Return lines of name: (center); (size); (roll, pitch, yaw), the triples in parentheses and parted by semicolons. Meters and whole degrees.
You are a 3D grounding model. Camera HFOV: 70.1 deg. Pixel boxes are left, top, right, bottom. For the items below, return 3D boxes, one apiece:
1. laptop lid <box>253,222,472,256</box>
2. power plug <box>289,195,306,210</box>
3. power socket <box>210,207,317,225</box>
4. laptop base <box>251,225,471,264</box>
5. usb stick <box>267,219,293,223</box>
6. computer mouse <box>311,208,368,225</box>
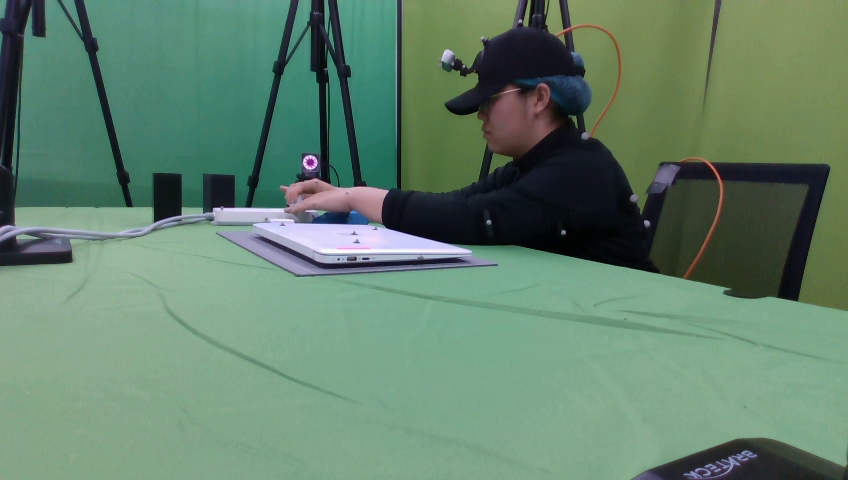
laptop lid: (-0.113, -0.005, 0.955); (0.243, 0.013, 0.355); (1, 7, -29)
power plug: (-0.280, -0.072, 1.341); (0.035, 0.052, 0.072); (-4, -6, -12)
power socket: (-0.335, -0.051, 1.282); (0.228, 0.032, 0.072); (-1, 9, -28)
laptop base: (-0.115, 0.007, 0.955); (0.237, 0.023, 0.352); (2, 6, -31)
usb stick: (-0.272, -0.025, 1.107); (0.059, 0.027, 0.021); (-4, 11, -27)
computer mouse: (-0.178, -0.045, 1.274); (0.118, 0.041, 0.062); (-6, 13, -26)
